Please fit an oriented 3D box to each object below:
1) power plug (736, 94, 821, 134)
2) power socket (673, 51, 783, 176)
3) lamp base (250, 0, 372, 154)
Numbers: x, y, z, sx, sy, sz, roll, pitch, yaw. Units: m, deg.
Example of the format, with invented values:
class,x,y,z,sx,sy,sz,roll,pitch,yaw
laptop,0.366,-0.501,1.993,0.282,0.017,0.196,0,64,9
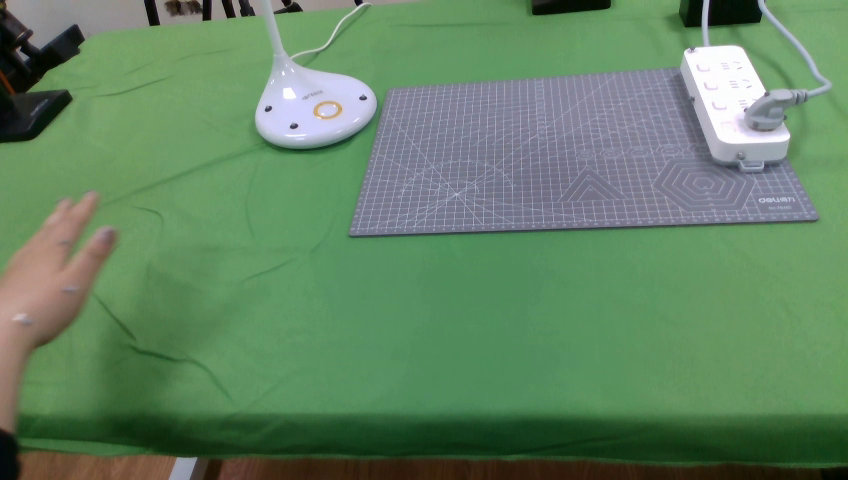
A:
class,x,y,z,sx,sy,sz,roll,pitch,yaw
power plug,0.356,-0.120,0.613,0.072,0.053,0.035,7,44,17
power socket,0.338,-0.153,0.686,0.072,0.033,0.224,0,43,9
lamp base,-0.168,-0.223,0.753,0.177,0.182,0.160,28,54,37
